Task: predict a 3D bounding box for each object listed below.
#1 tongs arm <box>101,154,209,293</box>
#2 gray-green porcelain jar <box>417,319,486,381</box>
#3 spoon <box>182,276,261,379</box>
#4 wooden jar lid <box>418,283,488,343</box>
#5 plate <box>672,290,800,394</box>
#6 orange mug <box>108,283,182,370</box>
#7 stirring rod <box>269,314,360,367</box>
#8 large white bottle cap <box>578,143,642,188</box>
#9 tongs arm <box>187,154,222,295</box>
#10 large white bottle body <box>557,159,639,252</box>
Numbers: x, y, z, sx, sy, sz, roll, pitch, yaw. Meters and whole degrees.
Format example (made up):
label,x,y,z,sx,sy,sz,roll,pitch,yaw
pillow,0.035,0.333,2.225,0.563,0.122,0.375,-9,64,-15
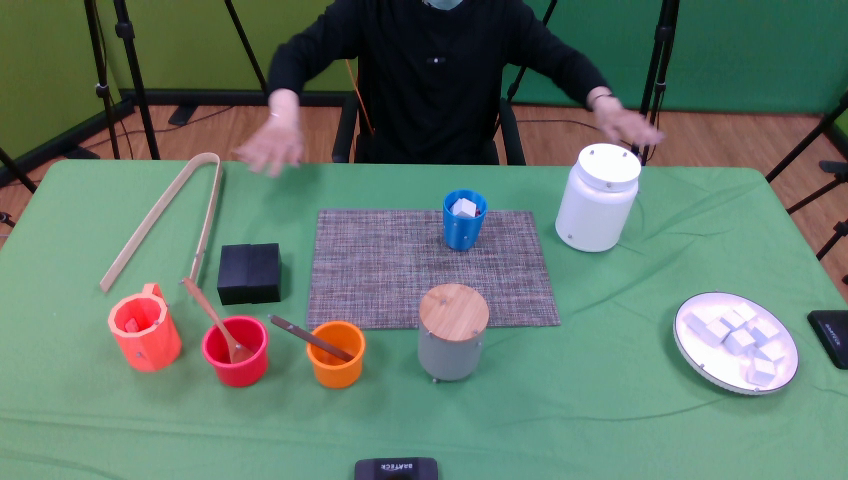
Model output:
label,x,y,z,sx,sy,sz,roll,pitch,yaw
tongs arm,-0.526,-0.047,1.202,0.028,0.028,0.385,4,45,12
gray-green porcelain jar,0.042,0.157,0.975,0.106,0.127,0.105,2,46,-2
spoon,-0.321,0.137,0.957,0.041,0.021,0.194,-37,102,-32
wooden jar lid,0.044,0.114,0.931,0.108,0.021,0.107,2,49,-2
plate,0.533,0.178,1.050,0.208,0.039,0.206,2,46,-2
orange mug,-0.446,0.133,0.983,0.083,0.101,0.125,-1,50,-5
stirring rod,-0.168,0.159,0.950,0.177,0.006,0.014,35,41,-30
large white bottle cap,0.344,-0.139,1.123,0.115,0.018,0.114,2,46,-2
tongs arm,-0.443,-0.044,1.200,0.051,0.027,0.382,-3,45,0
large white bottle body,0.340,-0.081,1.185,0.131,0.185,0.130,2,46,-2
